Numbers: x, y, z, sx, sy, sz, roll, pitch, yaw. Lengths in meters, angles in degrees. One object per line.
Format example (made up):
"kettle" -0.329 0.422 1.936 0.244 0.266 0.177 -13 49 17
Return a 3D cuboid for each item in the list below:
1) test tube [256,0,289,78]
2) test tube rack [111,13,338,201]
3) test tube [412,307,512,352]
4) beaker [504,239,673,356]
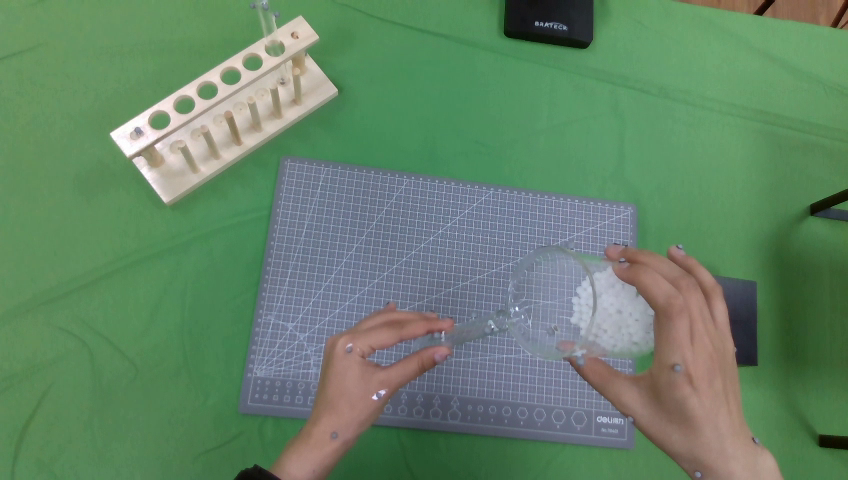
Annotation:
"test tube" -0.164 -0.222 0.662 0.017 0.151 0.017 1 73 -4
"test tube rack" -0.215 -0.150 0.689 0.242 0.085 0.066 -38 84 -15
"test tube" 0.025 0.074 0.487 0.017 0.150 0.017 8 70 -24
"beaker" 0.116 0.045 0.422 0.101 0.084 0.073 9 63 -38
